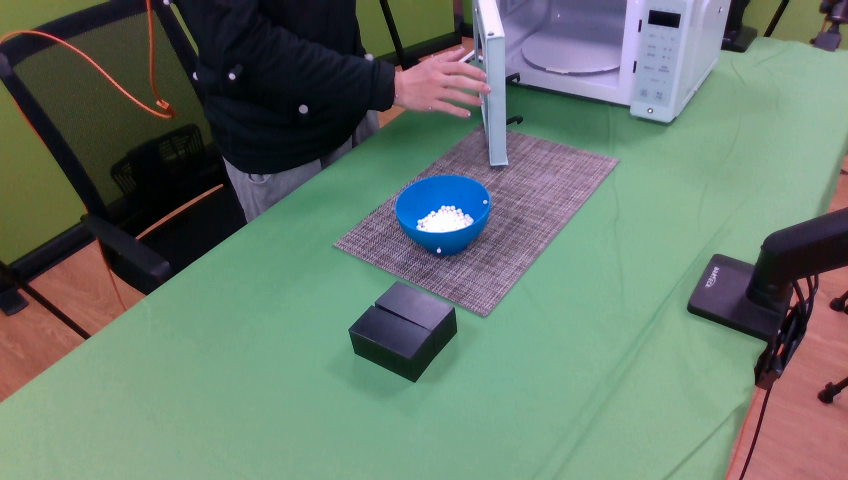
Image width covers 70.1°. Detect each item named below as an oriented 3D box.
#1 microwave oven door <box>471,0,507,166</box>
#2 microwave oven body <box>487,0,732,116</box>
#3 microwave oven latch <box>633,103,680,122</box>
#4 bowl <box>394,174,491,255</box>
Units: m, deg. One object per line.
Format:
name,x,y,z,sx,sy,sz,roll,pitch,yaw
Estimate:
microwave oven door,0.121,-0.340,1.153,0.039,0.245,0.354,-4,40,3
microwave oven body,0.377,-0.462,1.267,0.438,0.261,0.327,21,48,30
microwave oven latch,0.443,-0.249,1.157,0.078,0.029,0.030,21,48,30
bowl,0.032,-0.030,0.949,0.151,0.077,0.150,-4,40,4
